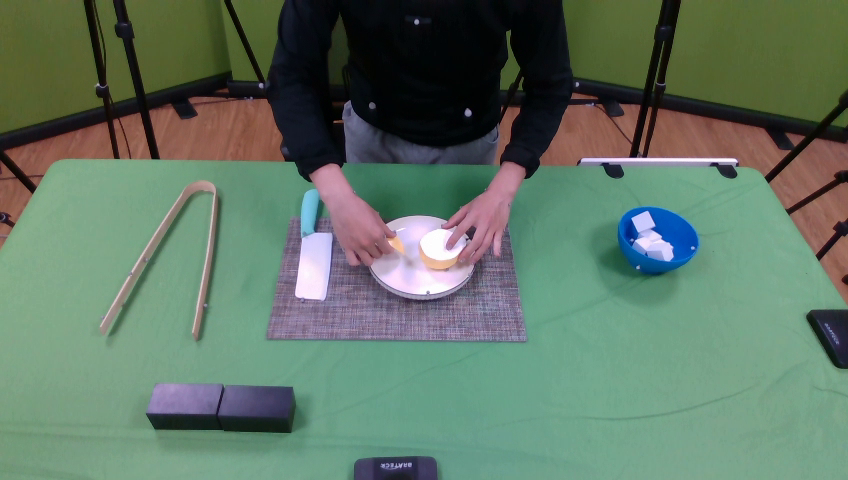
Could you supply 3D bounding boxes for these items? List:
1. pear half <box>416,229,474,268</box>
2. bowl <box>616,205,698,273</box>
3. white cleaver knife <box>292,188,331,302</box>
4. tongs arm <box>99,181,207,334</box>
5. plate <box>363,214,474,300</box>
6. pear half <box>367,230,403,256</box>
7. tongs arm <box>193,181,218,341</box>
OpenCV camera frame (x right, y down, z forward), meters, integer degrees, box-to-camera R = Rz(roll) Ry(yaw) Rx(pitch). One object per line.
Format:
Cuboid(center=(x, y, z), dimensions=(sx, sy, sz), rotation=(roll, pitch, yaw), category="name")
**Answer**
Cuboid(center=(0.042, 0.016, 1.141), dimensions=(0.110, 0.056, 0.076), rotation=(-12, 61, -12), category="pear half")
Cuboid(center=(0.443, 0.011, 1.182), dimensions=(0.151, 0.077, 0.150), rotation=(2, 46, -2), category="bowl")
Cuboid(center=(-0.215, 0.006, 1.178), dimensions=(0.066, 0.021, 0.284), rotation=(4, 49, -11), category="white cleaver knife")
Cuboid(center=(-0.494, 0.018, 1.132), dimensions=(0.051, 0.026, 0.382), rotation=(7, 45, -1), category="tongs arm")
Cuboid(center=(-0.010, 0.036, 1.146), dimensions=(0.208, 0.039, 0.206), rotation=(2, 46, -2), category="plate")
Cuboid(center=(-0.070, -0.001, 1.132), dimensions=(0.070, 0.088, 0.031), rotation=(14, 72, 40), category="pear half")
Cuboid(center=(-0.413, 0.025, 1.140), dimensions=(0.028, 0.028, 0.385), rotation=(-5, 47, -7), category="tongs arm")
